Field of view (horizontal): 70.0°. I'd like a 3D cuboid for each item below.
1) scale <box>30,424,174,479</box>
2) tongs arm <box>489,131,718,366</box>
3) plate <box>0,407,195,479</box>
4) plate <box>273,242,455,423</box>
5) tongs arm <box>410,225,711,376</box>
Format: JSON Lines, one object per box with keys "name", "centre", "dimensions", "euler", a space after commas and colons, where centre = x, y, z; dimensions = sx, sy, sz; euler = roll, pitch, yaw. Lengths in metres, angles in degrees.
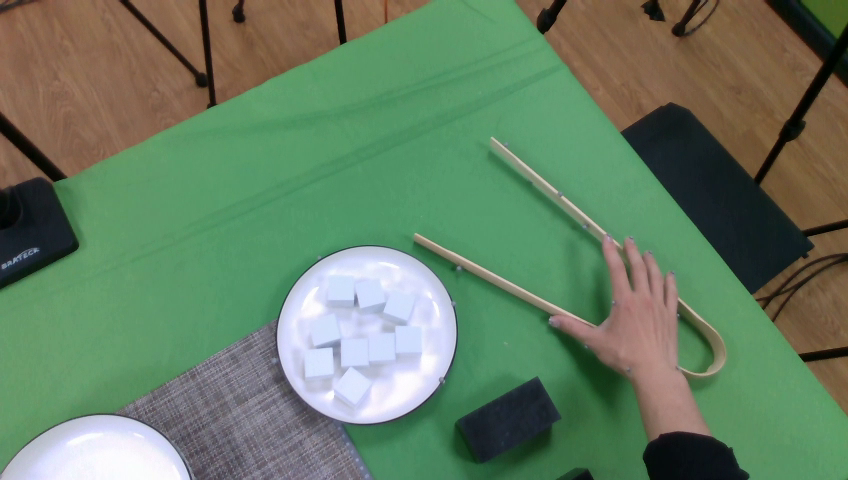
{"name": "scale", "centre": [-0.318, 0.309, 0.623], "dimensions": [0.149, 0.032, 0.199], "euler": [-30, 75, -12]}
{"name": "tongs arm", "centre": [0.209, 0.005, 0.749], "dimensions": [0.383, 0.026, 0.050], "euler": [42, 75, 10]}
{"name": "plate", "centre": [-0.328, 0.272, 0.600], "dimensions": [0.209, 0.038, 0.207], "euler": [1, 71, -2]}
{"name": "plate", "centre": [-0.067, 0.106, 0.704], "dimensions": [0.208, 0.039, 0.206], "euler": [1, 71, -2]}
{"name": "tongs arm", "centre": [0.154, 0.072, 0.727], "dimensions": [0.387, 0.028, 0.028], "euler": [27, 69, 6]}
